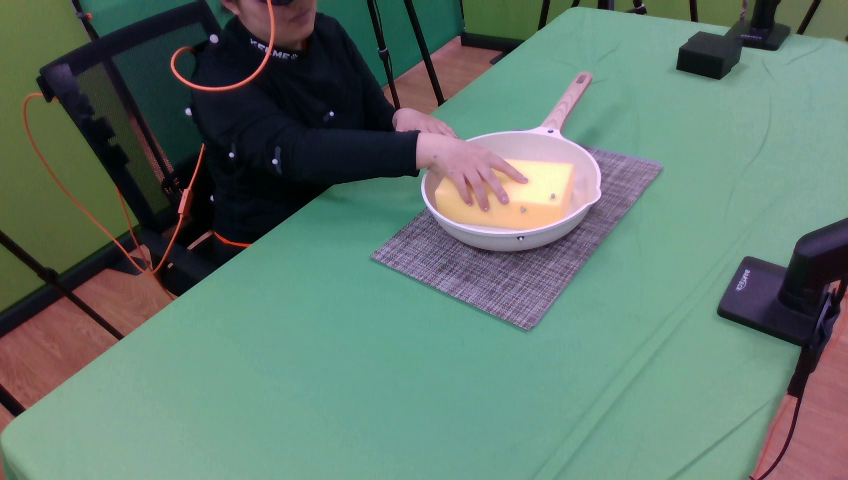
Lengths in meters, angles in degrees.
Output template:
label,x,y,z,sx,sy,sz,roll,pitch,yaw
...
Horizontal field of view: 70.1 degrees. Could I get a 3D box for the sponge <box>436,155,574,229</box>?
label,x,y,z,sx,sy,sz,roll,pitch,yaw
sponge,0.138,-0.079,1.012,0.206,0.061,0.118,7,43,18

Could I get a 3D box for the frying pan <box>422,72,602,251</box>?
label,x,y,z,sx,sy,sz,roll,pitch,yaw
frying pan,0.199,-0.155,1.062,0.304,0.103,0.488,19,56,28
